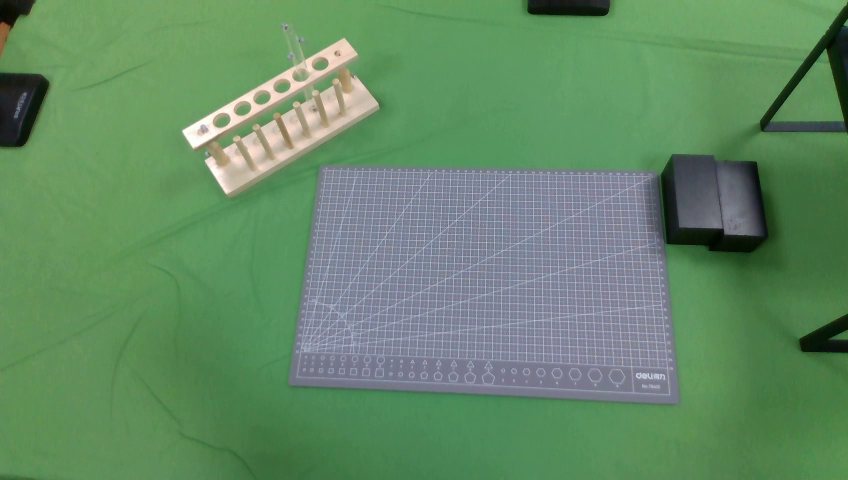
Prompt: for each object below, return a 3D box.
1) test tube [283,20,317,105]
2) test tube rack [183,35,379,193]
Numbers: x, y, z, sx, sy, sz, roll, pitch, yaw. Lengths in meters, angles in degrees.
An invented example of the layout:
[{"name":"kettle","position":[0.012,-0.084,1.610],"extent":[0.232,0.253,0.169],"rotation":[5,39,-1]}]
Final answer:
[{"name":"test tube","position":[-0.156,-0.223,0.778],"extent":[0.017,0.151,0.017],"rotation":[0,66,1]},{"name":"test tube rack","position":[-0.184,-0.168,0.810],"extent":[0.242,0.086,0.066],"rotation":[-33,69,-10]}]
